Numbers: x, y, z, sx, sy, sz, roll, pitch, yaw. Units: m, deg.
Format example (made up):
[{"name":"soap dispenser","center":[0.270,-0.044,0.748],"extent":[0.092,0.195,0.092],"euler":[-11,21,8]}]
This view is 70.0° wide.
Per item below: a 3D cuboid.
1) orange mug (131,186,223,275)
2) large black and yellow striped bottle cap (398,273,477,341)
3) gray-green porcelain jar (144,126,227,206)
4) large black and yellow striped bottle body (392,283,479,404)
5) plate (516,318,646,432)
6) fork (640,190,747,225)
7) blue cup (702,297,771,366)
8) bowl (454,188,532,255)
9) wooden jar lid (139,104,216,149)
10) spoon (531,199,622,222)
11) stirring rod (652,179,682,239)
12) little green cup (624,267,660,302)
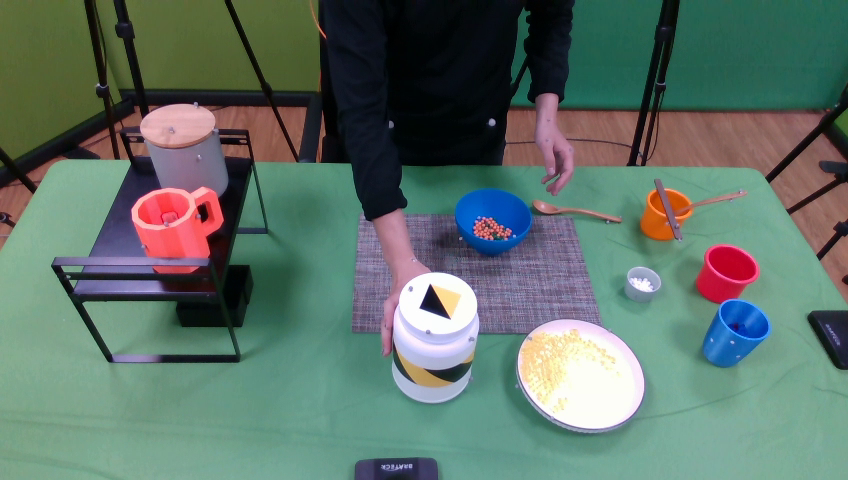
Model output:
[{"name":"orange mug","center":[-0.354,-0.023,0.887],"extent":[0.083,0.101,0.126],"euler":[31,56,24]},{"name":"large black and yellow striped bottle cap","center":[0.019,0.095,0.878],"extent":[0.115,0.019,0.114],"euler":[3,46,-3]},{"name":"gray-green porcelain jar","center":[-0.375,-0.126,0.967],"extent":[0.106,0.127,0.105],"euler":[2,46,-2]},{"name":"large black and yellow striped bottle body","center":[0.016,0.154,0.937],"extent":[0.131,0.185,0.130],"euler":[2,46,-2]},{"name":"plate","center":[0.253,0.221,0.992],"extent":[0.209,0.038,0.208],"euler":[2,46,-2]},{"name":"fork","center":[0.533,-0.064,1.211],"extent":[0.207,0.019,0.028],"euler":[-23,28,38]},{"name":"blue cup","center":[0.519,0.162,1.025],"extent":[0.093,0.101,0.092],"euler":[3,45,-3]},{"name":"bowl","center":[0.130,-0.024,1.186],"extent":[0.151,0.077,0.150],"euler":[2,46,-2]},{"name":"wooden jar lid","center":[-0.372,-0.169,0.920],"extent":[0.108,0.021,0.107],"euler":[4,44,-4]},{"name":"spoon","center":[0.322,-0.060,1.279],"extent":[0.194,0.022,0.041],"euler":[8,32,4]},{"name":"stirring rod","center":[0.481,-0.065,1.204],"extent":[0.014,0.006,0.175],"euler":[1,46,0]},{"name":"little green cup","center":[0.406,0.084,1.135],"extent":[0.061,0.039,0.061],"euler":[3,45,-3]}]
